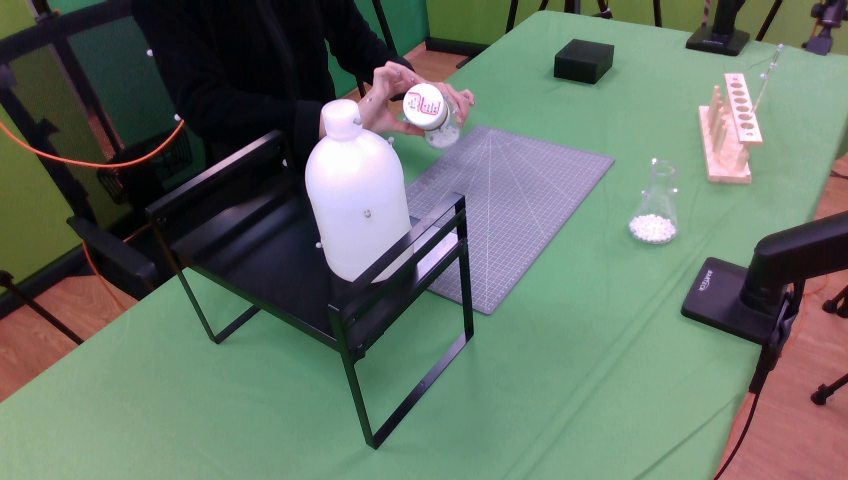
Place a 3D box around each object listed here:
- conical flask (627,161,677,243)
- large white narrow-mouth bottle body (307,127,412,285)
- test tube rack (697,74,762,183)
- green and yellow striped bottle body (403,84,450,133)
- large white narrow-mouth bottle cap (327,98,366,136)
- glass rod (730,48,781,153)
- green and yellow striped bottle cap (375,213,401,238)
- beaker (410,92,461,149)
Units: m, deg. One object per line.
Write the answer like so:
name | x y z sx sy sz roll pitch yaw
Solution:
conical flask | 0.355 -0.061 0.921 0.075 0.122 0.075 -4 41 4
large white narrow-mouth bottle body | -0.070 -0.051 0.638 0.102 0.195 0.101 -3 40 3
test tube rack | 0.547 -0.208 1.095 0.066 0.085 0.242 5 42 15
green and yellow striped bottle body | 0.008 -0.206 0.962 0.063 0.063 0.120 0 2 8
large white narrow-mouth bottle cap | -0.075 -0.118 0.581 0.038 0.024 0.037 -3 40 3
glass rod | 0.554 -0.228 1.015 0.008 0.200 0.008 1 44 -1
green and yellow striped bottle cap | -0.061 -0.025 1.016 0.045 0.020 0.045 -2 42 3
beaker | 0.026 -0.208 1.061 0.084 0.101 0.073 -15 77 10
